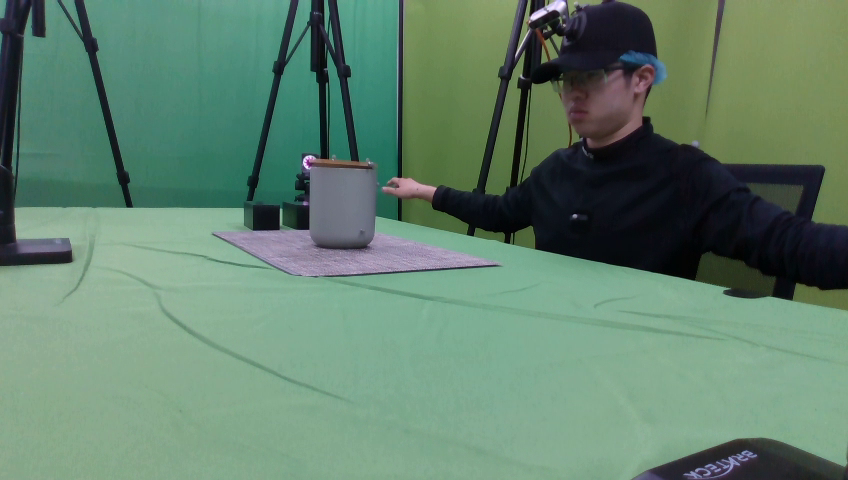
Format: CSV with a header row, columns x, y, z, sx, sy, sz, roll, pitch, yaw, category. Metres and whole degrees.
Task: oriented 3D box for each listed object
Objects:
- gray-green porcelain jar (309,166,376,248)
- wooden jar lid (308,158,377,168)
x,y,z,sx,sy,sz,roll,pitch,yaw,category
-0.130,-0.054,0.966,0.106,0.126,0.106,2,7,0,gray-green porcelain jar
-0.128,-0.117,0.956,0.108,0.020,0.108,5,6,0,wooden jar lid
